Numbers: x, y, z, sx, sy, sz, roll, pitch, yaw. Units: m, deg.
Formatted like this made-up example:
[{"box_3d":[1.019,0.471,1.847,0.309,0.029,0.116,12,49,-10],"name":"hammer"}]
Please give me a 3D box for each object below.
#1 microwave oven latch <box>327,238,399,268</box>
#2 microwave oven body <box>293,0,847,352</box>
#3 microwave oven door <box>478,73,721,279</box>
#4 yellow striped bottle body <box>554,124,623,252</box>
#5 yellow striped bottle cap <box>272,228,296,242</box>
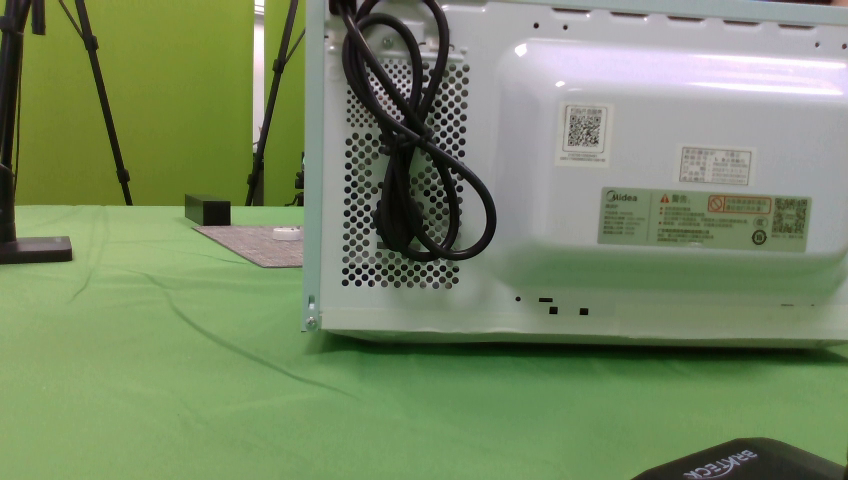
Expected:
[{"box_3d":[-0.069,0.015,0.694,0.079,0.029,0.030,3,7,-3],"name":"microwave oven latch"},{"box_3d":[0.122,-0.055,0.550,0.442,0.260,0.325,3,7,-5],"name":"microwave oven body"},{"box_3d":[0.217,-0.093,0.838,0.039,0.243,0.354,-4,9,-40],"name":"microwave oven door"},{"box_3d":[0.158,-0.050,0.584,0.063,0.120,0.063,1,4,0],"name":"yellow striped bottle body"},{"box_3d":[-0.232,-0.008,1.012,0.044,0.018,0.044,4,9,0],"name":"yellow striped bottle cap"}]
